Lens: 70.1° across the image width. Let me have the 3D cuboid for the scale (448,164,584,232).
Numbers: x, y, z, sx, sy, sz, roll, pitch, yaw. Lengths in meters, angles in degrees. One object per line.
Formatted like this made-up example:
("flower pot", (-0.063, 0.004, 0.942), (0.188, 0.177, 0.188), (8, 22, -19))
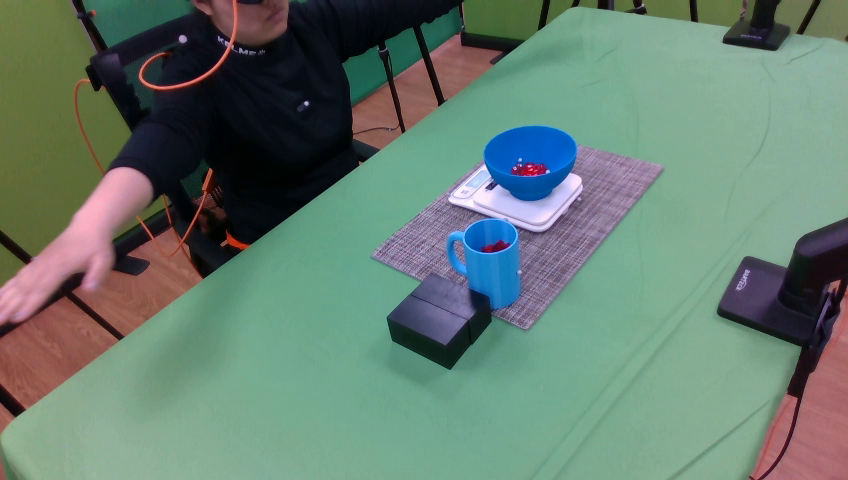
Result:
("scale", (0.156, -0.085, 1.039), (0.199, 0.032, 0.149), (22, 49, 32))

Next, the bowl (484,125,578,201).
("bowl", (0.176, -0.117, 0.991), (0.151, 0.077, 0.150), (-6, 40, 5))

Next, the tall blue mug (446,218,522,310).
("tall blue mug", (0.082, 0.034, 0.852), (0.107, 0.108, 0.077), (-1, 41, 10))
